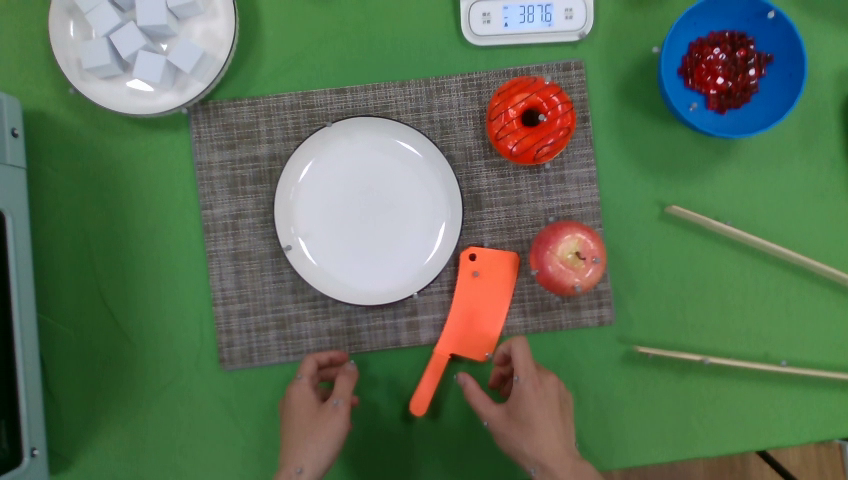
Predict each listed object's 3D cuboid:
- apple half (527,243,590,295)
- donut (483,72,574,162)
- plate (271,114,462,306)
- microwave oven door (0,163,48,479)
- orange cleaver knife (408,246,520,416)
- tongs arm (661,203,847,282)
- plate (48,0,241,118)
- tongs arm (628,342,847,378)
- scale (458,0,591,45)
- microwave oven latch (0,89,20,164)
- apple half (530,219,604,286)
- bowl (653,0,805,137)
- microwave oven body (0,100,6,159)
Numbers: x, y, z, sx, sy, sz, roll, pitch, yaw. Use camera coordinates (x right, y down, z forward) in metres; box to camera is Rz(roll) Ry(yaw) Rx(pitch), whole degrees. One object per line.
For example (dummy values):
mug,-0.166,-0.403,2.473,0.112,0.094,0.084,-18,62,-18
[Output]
apple half,0.136,0.038,0.649,0.081,0.081,0.033,38,86,1
donut,0.113,-0.134,0.665,0.099,0.048,0.099,0,90,2
plate,-0.062,-0.033,0.669,0.209,0.038,0.209,0,90,1
microwave oven door,-0.448,0.094,0.554,0.039,0.244,0.355,-4,89,1
orange cleaver knife,0.045,0.103,0.677,0.077,0.012,0.211,22,88,-4
tongs arm,0.443,0.041,0.671,0.387,0.028,0.028,24,83,1
plate,-0.305,-0.237,0.675,0.208,0.039,0.207,0,89,0
tongs arm,0.422,0.124,0.669,0.385,0.026,0.050,9,87,0
scale,0.110,-0.323,0.676,0.149,0.031,0.201,-2,90,1
microwave oven latch,-0.460,-0.123,0.657,0.030,0.029,0.079,-2,90,0
apple half,0.159,0.007,0.650,0.080,0.075,0.053,37,86,5
bowl,0.312,-0.179,0.652,0.151,0.077,0.151,0,90,1
microwave oven body,-0.597,0.062,0.561,0.326,0.260,0.441,-4,90,0
